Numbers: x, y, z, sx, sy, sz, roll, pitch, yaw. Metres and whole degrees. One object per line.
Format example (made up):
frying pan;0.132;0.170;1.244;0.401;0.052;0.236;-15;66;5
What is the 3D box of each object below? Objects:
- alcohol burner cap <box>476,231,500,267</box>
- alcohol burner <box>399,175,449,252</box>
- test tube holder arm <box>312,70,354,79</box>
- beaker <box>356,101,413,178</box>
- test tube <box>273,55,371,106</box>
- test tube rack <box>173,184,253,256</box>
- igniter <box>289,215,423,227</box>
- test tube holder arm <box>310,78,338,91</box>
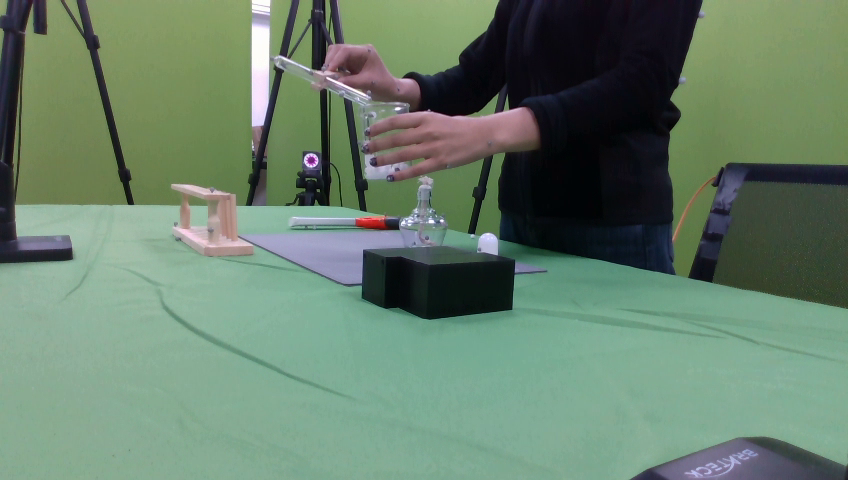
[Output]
alcohol burner cap;0.088;0.012;0.830;0.034;0.048;0.034;2;7;0
alcohol burner;0.000;-0.041;0.937;0.078;0.119;0.078;0;7;0
test tube holder arm;-0.133;-0.248;0.908;0.015;0.013;0.178;22;19;2
beaker;-0.055;-0.136;0.835;0.083;0.100;0.074;-1;6;30
test tube;-0.143;-0.224;0.845;0.150;0.017;0.017;25;10;5
test tube rack;-0.329;-0.036;0.927;0.067;0.085;0.241;-2;9;-32
igniter;-0.133;-0.038;1.231;0.278;0.025;0.057;-1;-2;-25
test tube holder arm;-0.142;-0.228;0.869;0.015;0.010;0.088;22;28;2
